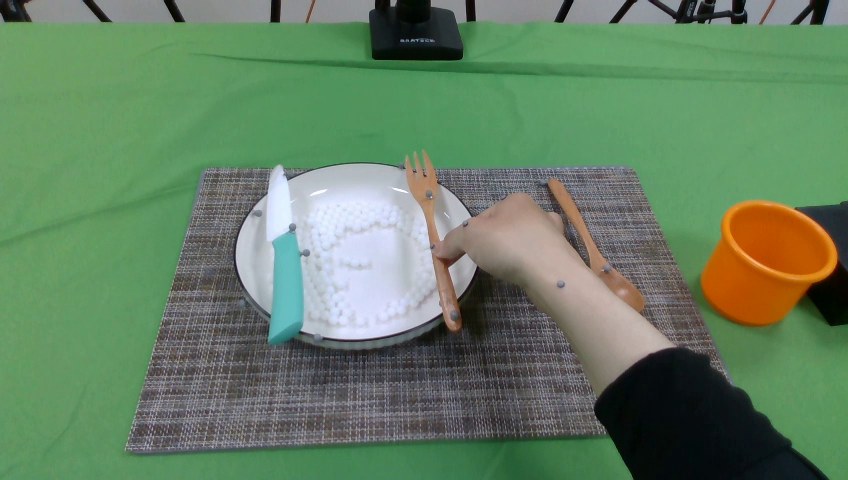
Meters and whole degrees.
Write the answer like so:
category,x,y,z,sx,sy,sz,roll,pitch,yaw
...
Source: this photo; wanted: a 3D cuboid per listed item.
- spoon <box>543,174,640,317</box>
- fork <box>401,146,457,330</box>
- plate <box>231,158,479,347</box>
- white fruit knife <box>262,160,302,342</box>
category,x,y,z,sx,sy,sz,roll,pitch,yaw
spoon,0.147,-0.003,0.563,0.041,0.022,0.191,-18,49,3
fork,0.004,-0.010,0.517,0.028,0.019,0.205,-10,47,-2
plate,-0.057,0.008,0.525,0.209,0.038,0.207,2,47,-2
white fruit knife,-0.119,-0.003,0.501,0.027,0.016,0.205,-8,47,-9
